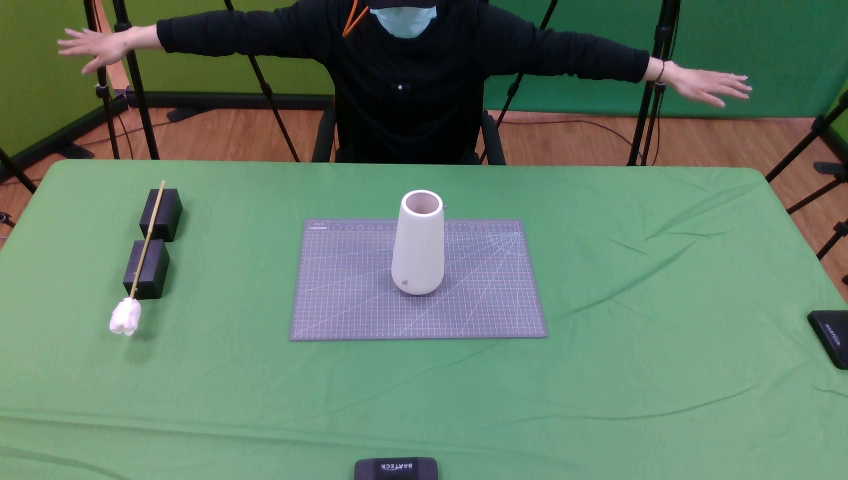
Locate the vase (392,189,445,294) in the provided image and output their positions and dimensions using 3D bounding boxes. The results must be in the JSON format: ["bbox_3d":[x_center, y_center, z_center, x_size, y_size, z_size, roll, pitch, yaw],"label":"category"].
[{"bbox_3d":[-0.007,0.006,1.060,0.098,0.201,0.097,2,48,-2],"label":"vase"}]

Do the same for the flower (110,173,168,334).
[{"bbox_3d":[-0.497,0.008,1.087,0.044,0.038,0.359,-12,50,9],"label":"flower"}]
